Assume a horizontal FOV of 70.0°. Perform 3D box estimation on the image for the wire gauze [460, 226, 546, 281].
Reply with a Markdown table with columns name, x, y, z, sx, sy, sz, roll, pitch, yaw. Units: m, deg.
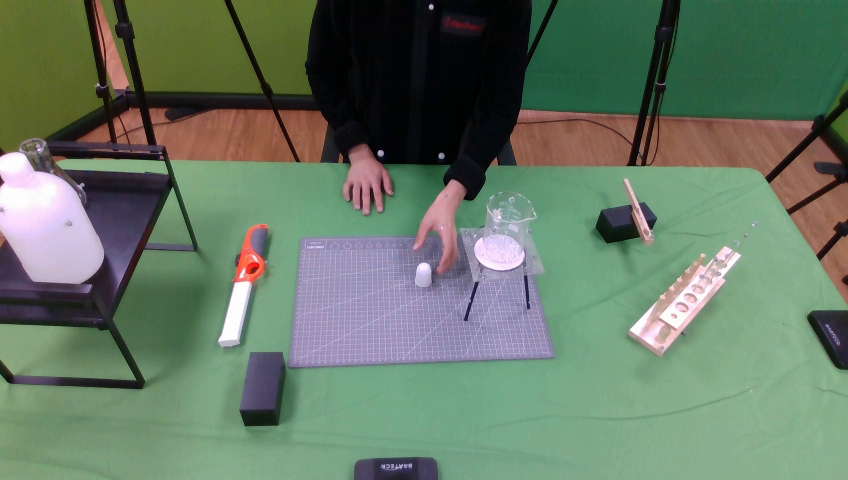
| name | x | y | z | sx | sy | sz | roll | pitch | yaw |
| --- | --- | --- | --- | --- | --- | --- | --- | --- | --- |
| wire gauze | 0.130 | 0.017 | 1.016 | 0.121 | 0.011 | 0.124 | -4 | 43 | -9 |

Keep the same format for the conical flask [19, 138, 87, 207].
| name | x | y | z | sx | sy | sz | roll | pitch | yaw |
| --- | --- | --- | --- | --- | --- | --- | --- | --- | --- |
| conical flask | -0.576 | -0.097 | 0.930 | 0.075 | 0.122 | 0.075 | 2 | 46 | -2 |

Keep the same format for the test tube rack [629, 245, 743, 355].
| name | x | y | z | sx | sy | sz | roll | pitch | yaw |
| --- | --- | --- | --- | --- | --- | --- | --- | --- | --- |
| test tube rack | 0.474 | 0.095 | 1.091 | 0.242 | 0.085 | 0.066 | -34 | 56 | -31 |

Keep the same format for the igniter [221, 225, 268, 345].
| name | x | y | z | sx | sy | sz | roll | pitch | yaw |
| --- | --- | --- | --- | --- | --- | --- | --- | --- | --- |
| igniter | -0.323 | 0.072 | 1.100 | 0.057 | 0.025 | 0.274 | -6 | 45 | 5 |

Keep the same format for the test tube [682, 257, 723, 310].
| name | x | y | z | sx | sy | sz | roll | pitch | yaw |
| --- | --- | --- | --- | --- | --- | --- | --- | --- | --- |
| test tube | 0.475 | 0.080 | 1.037 | 0.017 | 0.151 | 0.017 | 1 | 50 | -1 |

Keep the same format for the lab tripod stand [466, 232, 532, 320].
| name | x | y | z | sx | sy | sz | roll | pitch | yaw |
| --- | --- | --- | --- | --- | --- | --- | --- | --- | --- |
| lab tripod stand | 0.125 | 0.059 | 1.065 | 0.148 | 0.132 | 0.147 | 1 | 45 | 0 |

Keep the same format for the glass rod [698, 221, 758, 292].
| name | x | y | z | sx | sy | sz | roll | pitch | yaw |
| --- | --- | --- | --- | --- | --- | --- | --- | --- | --- |
| glass rod | 0.527 | 0.035 | 1.059 | 0.008 | 0.200 | 0.008 | 5 | 49 | -6 |

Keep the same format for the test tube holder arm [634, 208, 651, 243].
| name | x | y | z | sx | sy | sz | roll | pitch | yaw |
| --- | --- | --- | --- | --- | --- | --- | --- | --- | --- |
| test tube holder arm | 0.428 | -0.030 | 1.189 | 0.010 | 0.015 | 0.087 | 1 | 47 | -2 |

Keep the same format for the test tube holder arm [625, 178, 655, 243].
| name | x | y | z | sx | sy | sz | roll | pitch | yaw |
| --- | --- | --- | --- | --- | --- | --- | --- | --- | --- |
| test tube holder arm | 0.433 | -0.062 | 1.220 | 0.013 | 0.015 | 0.177 | 1 | 47 | -3 |

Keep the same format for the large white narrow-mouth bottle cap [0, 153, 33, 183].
| name | x | y | z | sx | sy | sz | roll | pitch | yaw |
| --- | --- | --- | --- | --- | --- | --- | --- | --- | --- |
| large white narrow-mouth bottle cap | -0.510 | -0.090 | 0.754 | 0.038 | 0.024 | 0.037 | 2 | 46 | -2 |

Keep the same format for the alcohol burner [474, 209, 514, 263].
| name | x | y | z | sx | sy | sz | roll | pitch | yaw |
| --- | --- | --- | --- | --- | --- | --- | --- | --- | --- |
| alcohol burner | 0.134 | -0.013 | 1.150 | 0.078 | 0.120 | 0.077 | 0 | 47 | 0 |

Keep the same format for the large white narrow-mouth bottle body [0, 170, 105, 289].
| name | x | y | z | sx | sy | sz | roll | pitch | yaw |
| --- | --- | --- | --- | --- | --- | --- | --- | --- | --- |
| large white narrow-mouth bottle body | -0.513 | -0.029 | 0.818 | 0.102 | 0.195 | 0.101 | 2 | 46 | -2 |

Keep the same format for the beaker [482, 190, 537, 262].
| name | x | y | z | sx | sy | sz | roll | pitch | yaw |
| --- | --- | --- | --- | --- | --- | --- | --- | --- | --- |
| beaker | 0.136 | -0.019 | 0.983 | 0.084 | 0.101 | 0.073 | 17 | 47 | 14 |

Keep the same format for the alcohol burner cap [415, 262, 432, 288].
| name | x | y | z | sx | sy | sz | roll | pitch | yaw |
| --- | --- | --- | --- | --- | --- | --- | --- | --- | --- |
| alcohol burner cap | 0.000 | 0.061 | 1.119 | 0.034 | 0.048 | 0.033 | 3 | 42 | -3 |
